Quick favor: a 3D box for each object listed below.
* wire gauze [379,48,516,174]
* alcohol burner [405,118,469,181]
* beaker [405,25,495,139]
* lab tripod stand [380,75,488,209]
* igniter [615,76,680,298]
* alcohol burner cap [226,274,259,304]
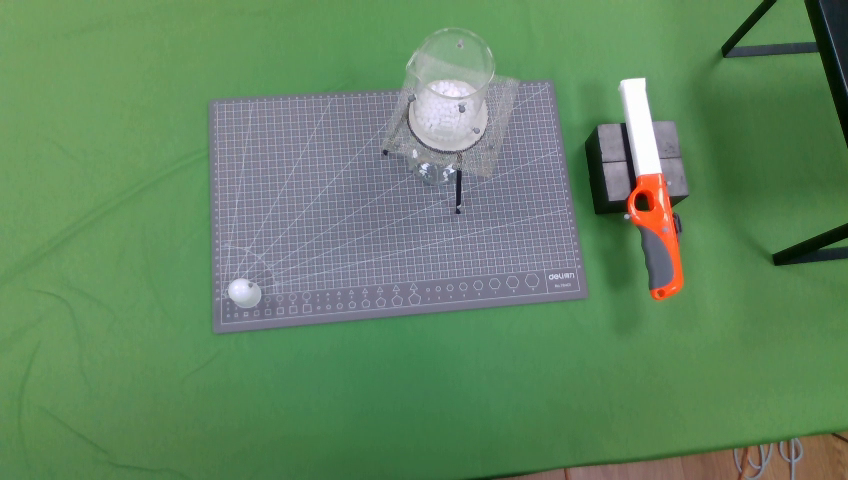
[{"bbox_3d":[0.028,-0.138,0.648,0.121,0.011,0.124,18,72,-2],"label":"wire gauze"},{"bbox_3d":[0.016,-0.114,0.719,0.078,0.119,0.077,1,78,-3],"label":"alcohol burner"},{"bbox_3d":[0.022,-0.151,0.600,0.084,0.100,0.073,-4,74,-5],"label":"beaker"},{"bbox_3d":[0.021,-0.125,0.711,0.148,0.132,0.147,1,74,-3],"label":"lab tripod stand"},{"bbox_3d":[0.266,-0.068,0.725,0.057,0.025,0.275,-5,76,1],"label":"igniter"},{"bbox_3d":[-0.211,0.054,0.697,0.034,0.048,0.033,1,75,-4],"label":"alcohol burner cap"}]
